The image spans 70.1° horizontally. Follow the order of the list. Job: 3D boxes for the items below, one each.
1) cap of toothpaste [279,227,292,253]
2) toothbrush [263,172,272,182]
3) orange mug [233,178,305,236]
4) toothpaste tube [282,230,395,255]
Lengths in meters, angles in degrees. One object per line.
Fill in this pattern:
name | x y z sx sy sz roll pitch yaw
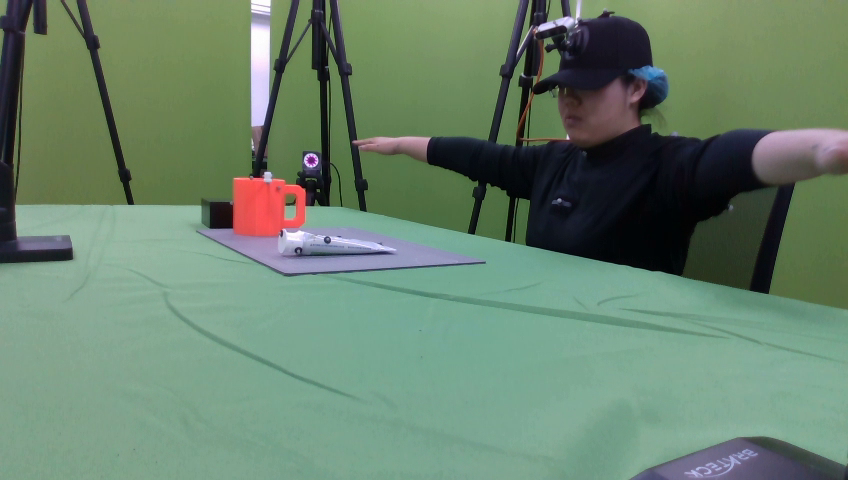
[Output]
cap of toothpaste | -0.189 0.001 0.826 0.011 0.037 0.037 6 4 -30
toothbrush | -0.273 -0.112 1.055 0.014 0.016 0.181 -7 9 -13
orange mug | -0.273 -0.061 1.067 0.127 0.101 0.083 -5 10 -24
toothpaste tube | -0.123 0.006 0.867 0.166 0.034 0.055 4 10 -34
